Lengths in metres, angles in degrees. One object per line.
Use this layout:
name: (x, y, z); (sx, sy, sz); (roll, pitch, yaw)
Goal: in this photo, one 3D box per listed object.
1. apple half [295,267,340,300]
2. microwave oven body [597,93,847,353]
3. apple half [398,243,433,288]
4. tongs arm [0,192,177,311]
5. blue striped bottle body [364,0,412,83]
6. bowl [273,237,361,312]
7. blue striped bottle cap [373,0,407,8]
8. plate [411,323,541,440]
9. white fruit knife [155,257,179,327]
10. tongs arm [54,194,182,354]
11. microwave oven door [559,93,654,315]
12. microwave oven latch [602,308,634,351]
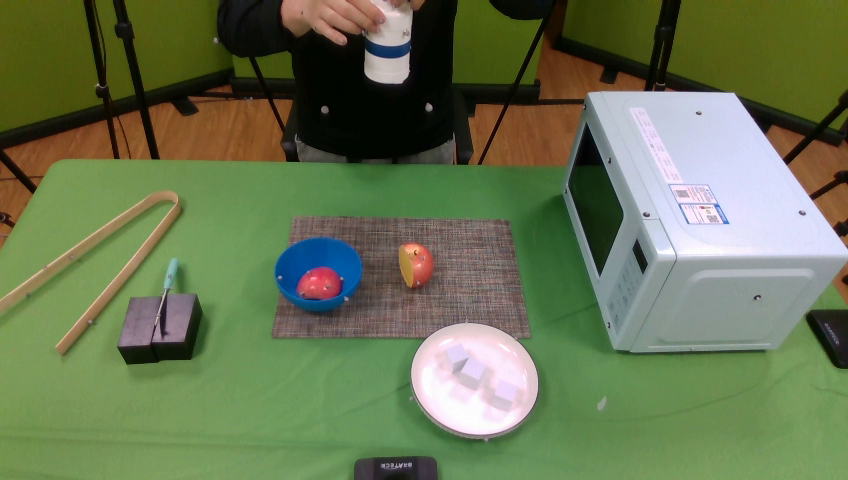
apple half: (-0.187, 0.070, 1.067); (0.081, 0.033, 0.081); (3, 47, -3)
microwave oven body: (0.475, -0.041, 1.109); (0.326, 0.261, 0.438); (-1, 45, -4)
apple half: (-0.012, 0.046, 1.115); (0.053, 0.075, 0.080); (-11, 44, -19)
tongs arm: (-0.618, 0.019, 1.124); (0.050, 0.026, 0.384); (23, 47, 16)
blue striped bottle body: (-0.049, -0.279, 0.815); (0.063, 0.121, 0.062); (4, 41, -3)
bowl: (-0.186, 0.074, 1.069); (0.151, 0.077, 0.150); (3, 46, -3)
blue striped bottle cap: (-0.044, -0.318, 0.781); (0.044, 0.021, 0.044); (3, 42, -3)
plate: (0.082, 0.228, 0.976); (0.208, 0.039, 0.206); (2, 45, -2)
white fruit knife: (-0.440, 0.085, 1.037); (0.016, 0.027, 0.206); (10, 26, -19)
tongs arm: (-0.543, 0.048, 1.108); (0.028, 0.028, 0.385); (11, 45, 10)
microwave oven door: (0.327, -0.074, 1.123); (0.039, 0.245, 0.353); (-1, 46, -5)
microwave oven latch: (0.332, 0.153, 1.044); (0.030, 0.029, 0.078); (-1, 45, -4)
